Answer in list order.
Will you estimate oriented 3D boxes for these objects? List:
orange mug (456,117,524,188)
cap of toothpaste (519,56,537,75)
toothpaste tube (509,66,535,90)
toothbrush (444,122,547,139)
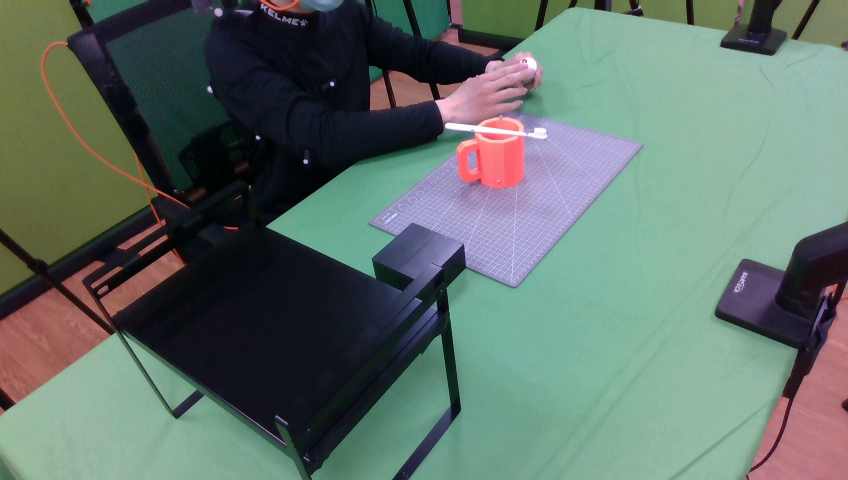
[{"bbox_3d":[0.117,-0.152,1.071,0.127,0.101,0.083,-14,41,-15],"label":"orange mug"},{"bbox_3d":[0.203,-0.340,1.183,0.037,0.037,0.011,-7,2,0],"label":"cap of toothpaste"},{"bbox_3d":[0.210,-0.341,1.262,0.055,0.034,0.165,-7,0,3],"label":"toothpaste tube"},{"bbox_3d":[0.121,-0.190,1.034,0.181,0.017,0.014,10,46,18],"label":"toothbrush"}]
